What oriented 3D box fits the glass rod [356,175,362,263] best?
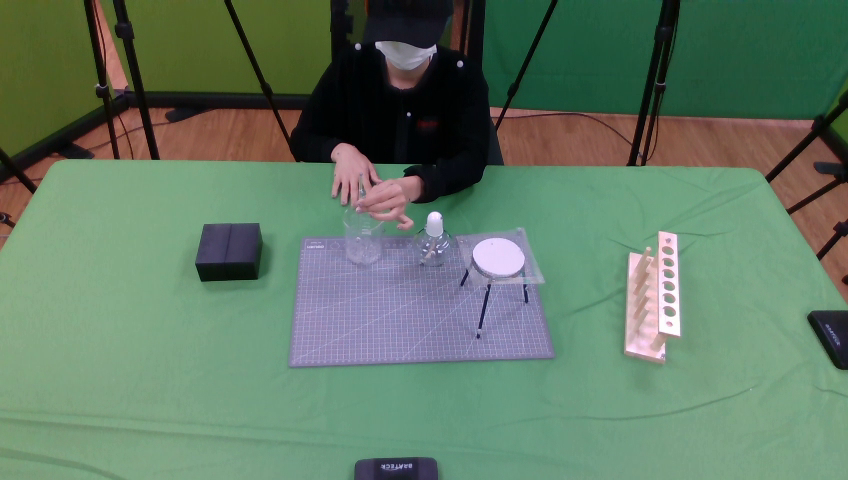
[{"bbox_3d":[-0.117,-0.033,1.091,0.008,0.200,0.008,4,40,-3],"label":"glass rod"}]

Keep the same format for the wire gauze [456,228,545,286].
[{"bbox_3d":[0.126,0.029,1.006,0.125,0.011,0.120,-4,46,-10],"label":"wire gauze"}]

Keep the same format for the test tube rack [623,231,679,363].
[{"bbox_3d":[0.410,0.094,1.096,0.066,0.085,0.241,13,46,9],"label":"test tube rack"}]

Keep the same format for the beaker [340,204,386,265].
[{"bbox_3d":[-0.114,-0.008,1.140,0.084,0.101,0.073,-3,46,-8],"label":"beaker"}]

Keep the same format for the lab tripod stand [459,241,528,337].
[{"bbox_3d":[0.122,0.075,1.054,0.148,0.132,0.147,3,44,-3],"label":"lab tripod stand"}]

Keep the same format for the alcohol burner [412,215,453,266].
[{"bbox_3d":[0.017,-0.006,1.139,0.078,0.119,0.077,2,48,-3],"label":"alcohol burner"}]

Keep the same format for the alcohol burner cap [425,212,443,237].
[{"bbox_3d":[0.019,-0.032,1.114,0.034,0.048,0.033,0,49,0],"label":"alcohol burner cap"}]
